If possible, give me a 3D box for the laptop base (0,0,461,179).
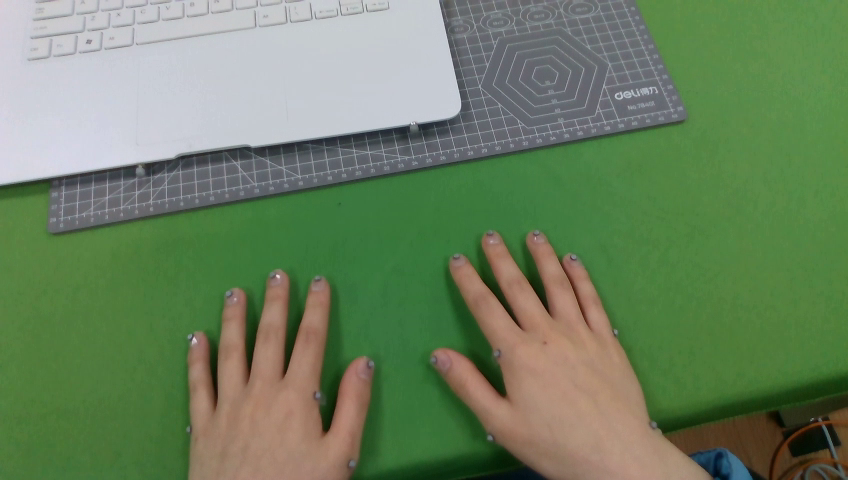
[{"bbox_3d":[-0.164,-0.167,0.468,0.354,0.023,0.233,-9,69,-3],"label":"laptop base"}]
